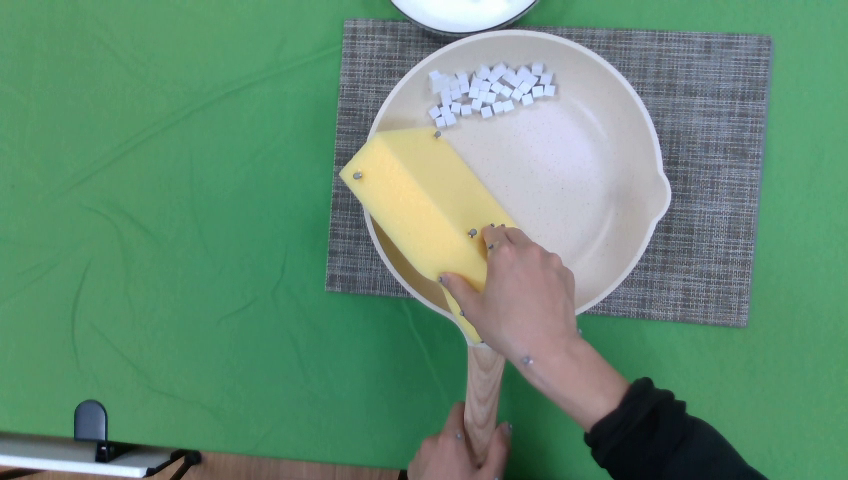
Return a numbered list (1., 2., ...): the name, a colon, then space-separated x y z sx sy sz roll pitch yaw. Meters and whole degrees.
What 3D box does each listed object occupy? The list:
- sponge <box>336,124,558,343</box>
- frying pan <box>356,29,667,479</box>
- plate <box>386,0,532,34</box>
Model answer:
1. sponge: 0.027 -0.014 0.588 0.206 0.118 0.061 50 119 5
2. frying pan: 0.068 0.044 0.605 0.306 0.103 0.486 7 83 7
3. plate: 0.040 -0.318 0.639 0.207 0.039 0.207 0 91 6
